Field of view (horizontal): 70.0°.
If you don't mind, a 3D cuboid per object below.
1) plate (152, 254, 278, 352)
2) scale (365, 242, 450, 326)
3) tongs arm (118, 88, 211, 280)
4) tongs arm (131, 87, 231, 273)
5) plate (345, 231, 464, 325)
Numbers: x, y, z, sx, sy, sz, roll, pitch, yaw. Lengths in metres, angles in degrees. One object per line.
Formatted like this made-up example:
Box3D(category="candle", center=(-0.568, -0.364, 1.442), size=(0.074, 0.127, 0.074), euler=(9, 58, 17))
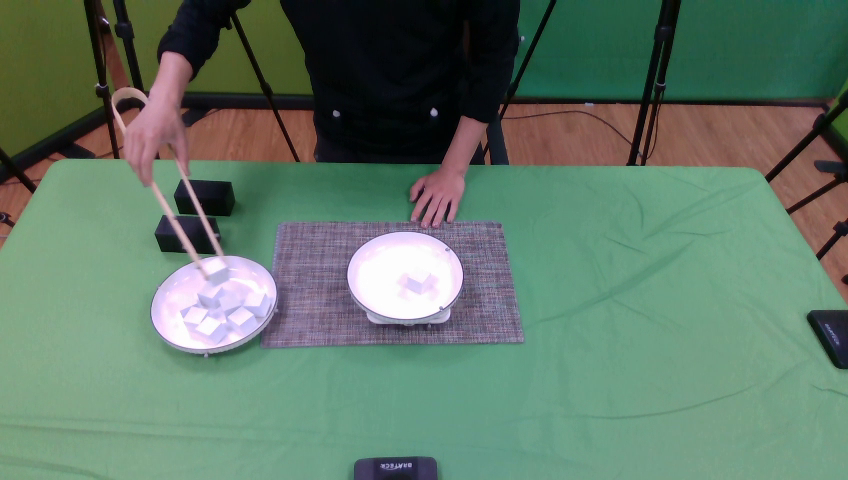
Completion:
Box3D(category="plate", center=(-0.357, 0.111, 1.052), size=(0.208, 0.039, 0.206), euler=(2, 46, -2))
Box3D(category="scale", center=(-0.032, 0.071, 1.113), size=(0.149, 0.032, 0.199), euler=(0, 46, -4))
Box3D(category="tongs arm", center=(-0.441, -0.102, 1.044), size=(0.051, 0.026, 0.383), euler=(-29, 78, -26))
Box3D(category="tongs arm", center=(-0.422, -0.110, 1.054), size=(0.028, 0.028, 0.386), euler=(-25, 76, -22))
Box3D(category="plate", center=(-0.034, 0.069, 1.069), size=(0.209, 0.038, 0.208), euler=(2, 46, -2))
